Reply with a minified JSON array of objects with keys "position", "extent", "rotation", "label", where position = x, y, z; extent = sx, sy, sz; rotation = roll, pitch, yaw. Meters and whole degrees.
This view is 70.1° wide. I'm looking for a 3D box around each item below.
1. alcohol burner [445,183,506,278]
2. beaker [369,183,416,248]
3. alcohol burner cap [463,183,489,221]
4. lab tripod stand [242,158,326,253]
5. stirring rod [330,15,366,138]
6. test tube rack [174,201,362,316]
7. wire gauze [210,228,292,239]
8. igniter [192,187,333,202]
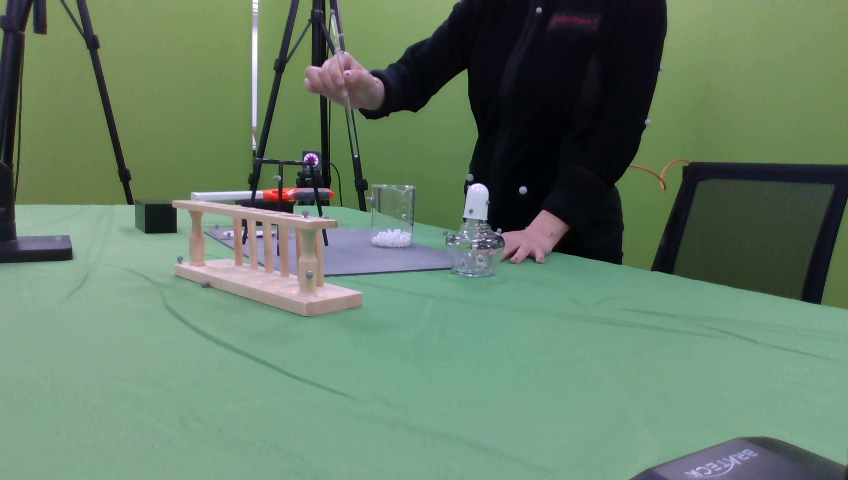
[{"position":[0.066,-0.013,0.770],"extent":[0.078,0.119,0.078],"rotation":[0,7,0],"label":"alcohol burner"},{"position":[-0.050,-0.039,0.971],"extent":[0.074,0.100,0.083],"rotation":[-1,9,-25],"label":"beaker"},{"position":[0.067,-0.048,0.765],"extent":[0.034,0.048,0.034],"rotation":[5,5,0],"label":"alcohol burner cap"},{"position":[-0.207,-0.054,0.895],"extent":[0.148,0.131,0.148],"rotation":[3,5,0],"label":"lab tripod stand"},{"position":[-0.108,-0.231,0.858],"extent":[0.006,0.176,0.014],"rotation":[-18,7,-32],"label":"stirring rod"},{"position":[-0.169,0.010,0.622],"extent":[0.241,0.085,0.067],"rotation":[9,9,41],"label":"test tube rack"},{"position":[-0.298,-0.013,1.039],"extent":[0.122,0.011,0.124],"rotation":[-2,6,-27],"label":"wire gauze"},{"position":[-0.316,-0.090,1.213],"extent":[0.278,0.025,0.057],"rotation":[-5,13,-31],"label":"igniter"}]
